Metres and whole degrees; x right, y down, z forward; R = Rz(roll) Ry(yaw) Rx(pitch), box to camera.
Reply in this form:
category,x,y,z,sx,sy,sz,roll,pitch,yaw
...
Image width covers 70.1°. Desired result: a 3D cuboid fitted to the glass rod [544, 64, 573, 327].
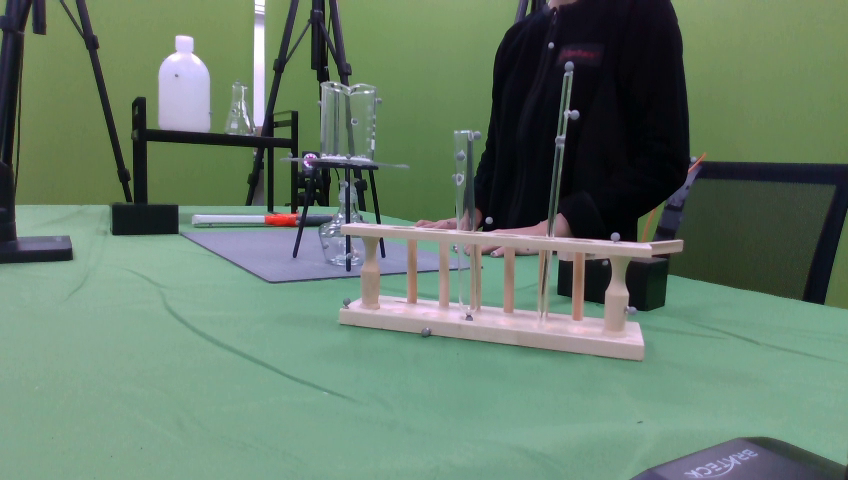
category,x,y,z,sx,sy,sz,roll,pitch,yaw
glass rod,0.101,-0.028,0.453,0.008,0.199,0.008,2,13,0

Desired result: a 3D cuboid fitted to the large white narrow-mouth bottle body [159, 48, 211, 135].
category,x,y,z,sx,sy,sz,roll,pitch,yaw
large white narrow-mouth bottle body,-0.503,-0.323,1.275,0.102,0.194,0.102,2,7,0

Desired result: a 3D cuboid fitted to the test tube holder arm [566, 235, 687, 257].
category,x,y,z,sx,sy,sz,roll,pitch,yaw
test tube holder arm,0.215,0.006,0.630,0.179,0.015,0.013,-3,9,-31

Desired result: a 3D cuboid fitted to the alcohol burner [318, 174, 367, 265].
category,x,y,z,sx,sy,sz,roll,pitch,yaw
alcohol burner,-0.100,-0.028,0.790,0.078,0.119,0.078,0,6,0

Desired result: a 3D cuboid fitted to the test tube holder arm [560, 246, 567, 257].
category,x,y,z,sx,sy,sz,roll,pitch,yaw
test tube holder arm,0.173,0.007,0.612,0.088,0.015,0.010,-3,9,-30

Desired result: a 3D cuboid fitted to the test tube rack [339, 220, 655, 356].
category,x,y,z,sx,sy,sz,roll,pitch,yaw
test tube rack,0.056,0.032,0.495,0.242,0.085,0.067,4,7,15

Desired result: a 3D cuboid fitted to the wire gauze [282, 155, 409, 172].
category,x,y,z,sx,sy,sz,roll,pitch,yaw
wire gauze,-0.104,-0.103,0.785,0.126,0.011,0.121,1,8,-39

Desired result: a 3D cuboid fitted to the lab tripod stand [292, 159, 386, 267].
category,x,y,z,sx,sy,sz,roll,pitch,yaw
lab tripod stand,-0.105,-0.039,0.798,0.148,0.131,0.148,2,5,0

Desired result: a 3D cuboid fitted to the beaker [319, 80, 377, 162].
category,x,y,z,sx,sy,sz,roll,pitch,yaw
beaker,-0.098,-0.150,0.777,0.074,0.100,0.084,1,7,-8

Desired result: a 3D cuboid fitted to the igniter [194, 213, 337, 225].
category,x,y,z,sx,sy,sz,roll,pitch,yaw
igniter,-0.306,-0.042,1.196,0.278,0.025,0.057,-2,-2,-31

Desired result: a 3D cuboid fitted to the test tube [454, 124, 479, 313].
category,x,y,z,sx,sy,sz,roll,pitch,yaw
test tube,0.034,-0.015,0.477,0.017,0.150,0.017,-2,9,1

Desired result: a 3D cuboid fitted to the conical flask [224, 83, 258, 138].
category,x,y,z,sx,sy,sz,roll,pitch,yaw
conical flask,-0.422,-0.299,1.395,0.075,0.122,0.075,2,7,0

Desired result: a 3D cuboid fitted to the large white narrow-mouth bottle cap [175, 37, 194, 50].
category,x,y,z,sx,sy,sz,roll,pitch,yaw
large white narrow-mouth bottle cap,-0.501,-0.409,1.264,0.038,0.024,0.037,2,7,0

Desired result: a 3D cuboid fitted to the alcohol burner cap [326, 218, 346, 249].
category,x,y,z,sx,sy,sz,roll,pitch,yaw
alcohol burner cap,-0.133,-0.010,0.927,0.034,0.048,0.034,6,7,0
